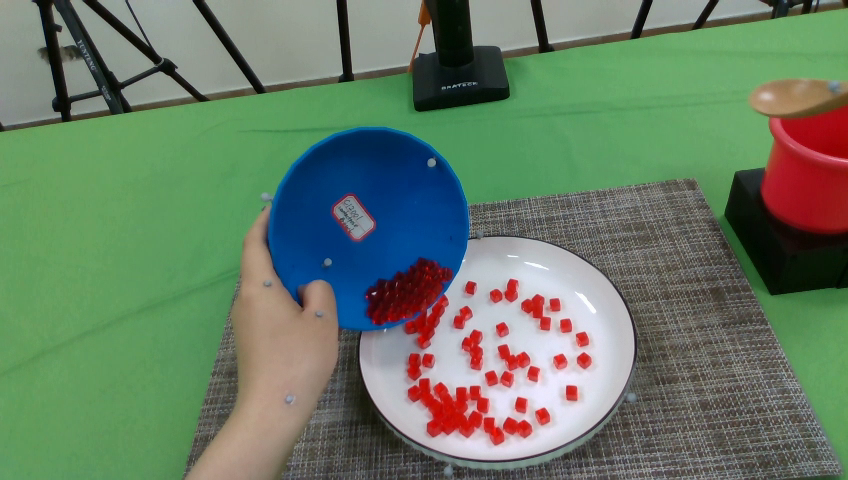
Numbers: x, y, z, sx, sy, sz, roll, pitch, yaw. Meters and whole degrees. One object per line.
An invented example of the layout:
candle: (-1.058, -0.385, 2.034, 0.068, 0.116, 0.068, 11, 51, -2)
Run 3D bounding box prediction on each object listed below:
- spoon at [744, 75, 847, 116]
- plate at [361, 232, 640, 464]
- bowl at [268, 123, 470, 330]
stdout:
spoon: (0.240, -0.079, 0.297, 0.041, 0.022, 0.192, -34, 14, -10)
plate: (0.057, 0.078, 0.469, 0.207, 0.039, 0.205, -6, 45, 6)
bowl: (-0.049, -0.014, 0.469, 0.151, 0.152, 0.076, -26, 18, -15)
